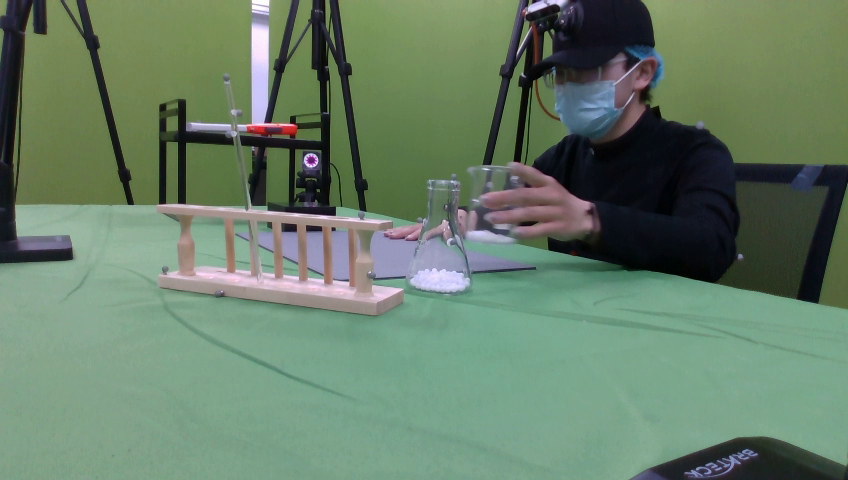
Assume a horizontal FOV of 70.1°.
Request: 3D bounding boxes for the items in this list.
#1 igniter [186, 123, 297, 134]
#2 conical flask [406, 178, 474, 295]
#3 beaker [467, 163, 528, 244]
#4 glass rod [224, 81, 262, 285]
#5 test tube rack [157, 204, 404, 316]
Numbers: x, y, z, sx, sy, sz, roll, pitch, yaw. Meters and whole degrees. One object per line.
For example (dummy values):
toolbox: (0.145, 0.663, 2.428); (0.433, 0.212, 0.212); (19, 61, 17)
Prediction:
igniter: (-0.392, -0.248, 1.341); (0.057, 0.025, 0.278); (9, 14, 38)
conical flask: (0.019, -0.006, 0.655); (0.075, 0.122, 0.075); (2, 7, 0)
beaker: (0.091, -0.047, 0.783); (0.084, 0.100, 0.073); (0, 5, -27)
glass rod: (-0.173, -0.052, 0.583); (0.008, 0.199, 0.008); (-7, 8, 1)
test tube rack: (-0.143, 0.013, 0.599); (0.242, 0.085, 0.067); (5, 8, 19)
